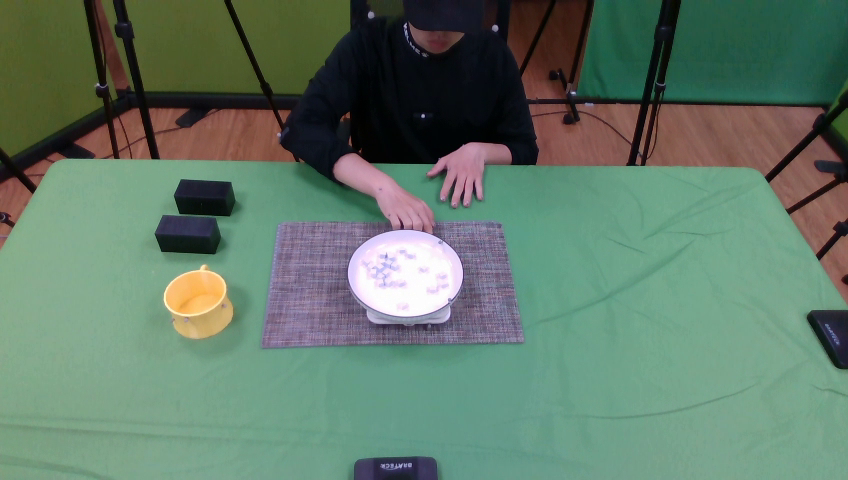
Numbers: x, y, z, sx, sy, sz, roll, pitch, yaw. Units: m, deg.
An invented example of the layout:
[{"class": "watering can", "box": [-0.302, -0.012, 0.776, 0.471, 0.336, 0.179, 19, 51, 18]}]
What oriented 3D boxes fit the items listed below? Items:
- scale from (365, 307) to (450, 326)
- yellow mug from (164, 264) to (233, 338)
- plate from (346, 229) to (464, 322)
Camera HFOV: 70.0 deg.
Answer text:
[{"class": "scale", "box": [-0.032, 0.071, 1.113, 0.149, 0.032, 0.199, 0, 46, -4]}, {"class": "yellow mug", "box": [-0.384, 0.097, 1.044, 0.100, 0.064, 0.130, -1, 45, -5]}, {"class": "plate", "box": [-0.034, 0.066, 1.073, 0.209, 0.038, 0.208, 2, 46, -2]}]
